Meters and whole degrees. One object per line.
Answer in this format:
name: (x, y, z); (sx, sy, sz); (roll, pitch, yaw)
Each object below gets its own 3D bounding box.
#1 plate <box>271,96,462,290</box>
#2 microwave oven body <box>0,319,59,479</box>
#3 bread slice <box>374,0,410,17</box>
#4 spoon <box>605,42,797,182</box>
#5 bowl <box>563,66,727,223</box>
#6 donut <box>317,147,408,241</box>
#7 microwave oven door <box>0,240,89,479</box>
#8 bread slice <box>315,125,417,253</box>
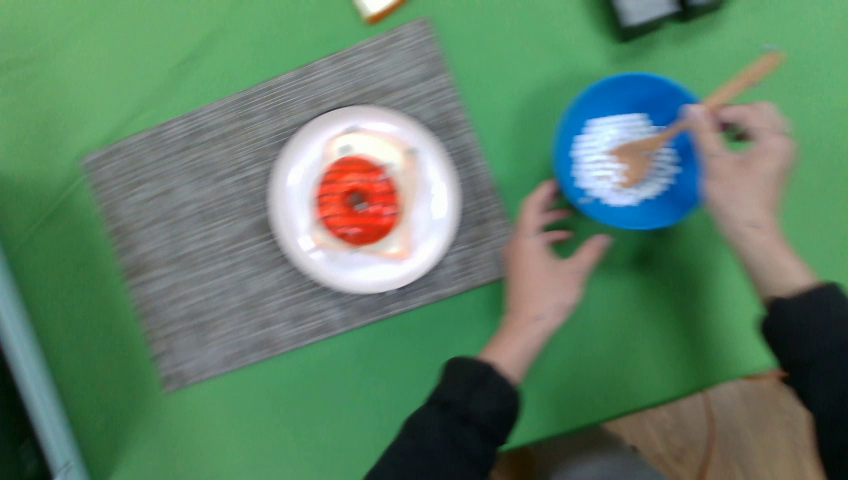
plate: (-0.061, -0.049, 0.663); (0.207, 0.039, 0.207); (0, 91, 7)
microwave oven body: (-0.632, 0.156, 0.627); (0.326, 0.260, 0.441); (-21, 88, 7)
bread slice: (-0.038, -0.330, 0.671); (0.105, 0.019, 0.131); (-34, 87, 5)
spoon: (0.245, -0.112, 0.555); (0.194, 0.022, 0.041); (-39, 78, 47)
bowl: (0.213, -0.089, 0.610); (0.151, 0.077, 0.151); (0, 90, 7)
donut: (-0.064, -0.048, 0.635); (0.099, 0.048, 0.099); (0, 91, 8)
microwave oven door: (-0.482, 0.143, 0.603); (0.039, 0.244, 0.355); (-22, 87, 7)
bread slice: (-0.061, -0.057, 0.663); (0.107, 0.018, 0.134); (6, 91, 7)
